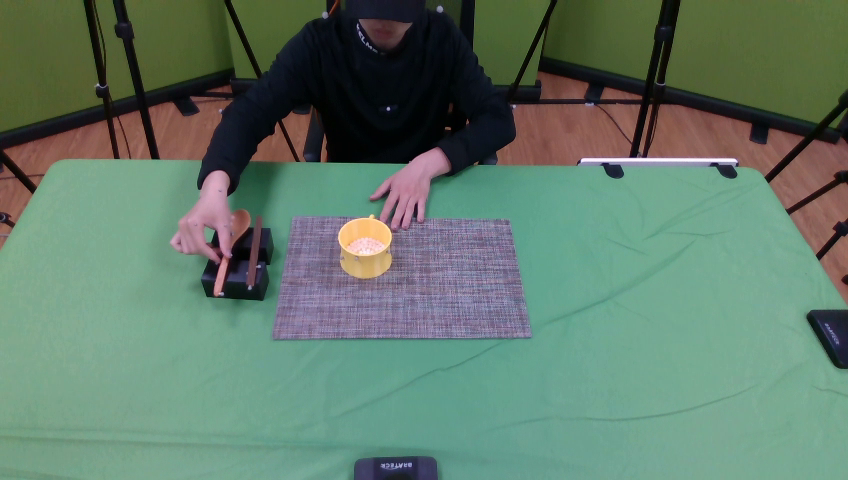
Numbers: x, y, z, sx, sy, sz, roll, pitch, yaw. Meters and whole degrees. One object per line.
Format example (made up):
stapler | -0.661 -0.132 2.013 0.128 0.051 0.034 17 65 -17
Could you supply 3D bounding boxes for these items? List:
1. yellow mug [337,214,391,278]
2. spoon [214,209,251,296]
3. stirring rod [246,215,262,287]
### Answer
yellow mug | -0.110 0.003 1.152 0.100 0.064 0.130 7 45 2
spoon | -0.349 0.019 1.087 0.041 0.022 0.192 0 48 5
stirring rod | -0.308 0.016 1.097 0.014 0.006 0.175 27 36 -31
